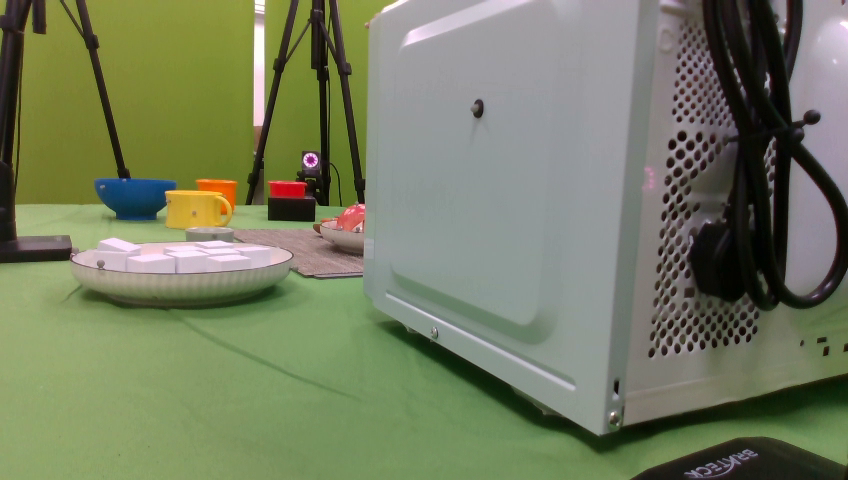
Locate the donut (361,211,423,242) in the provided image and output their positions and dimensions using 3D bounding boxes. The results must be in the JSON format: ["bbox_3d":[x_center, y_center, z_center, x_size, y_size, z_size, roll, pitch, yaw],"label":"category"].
[{"bbox_3d":[-0.050,-0.020,0.958,0.099,0.048,0.099,4,6,0],"label":"donut"}]

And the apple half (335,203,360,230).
[{"bbox_3d":[-0.116,-0.038,0.959,0.081,0.033,0.081,-38,8,7],"label":"apple half"}]

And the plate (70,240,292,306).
[{"bbox_3d":[-0.241,0.032,0.618,0.208,0.039,0.207,2,8,0],"label":"plate"}]

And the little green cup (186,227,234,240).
[{"bbox_3d":[-0.284,0.005,0.805,0.061,0.038,0.061,2,8,0],"label":"little green cup"}]

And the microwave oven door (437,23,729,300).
[{"bbox_3d":[0.181,-0.072,0.621,0.358,0.243,0.039,-2,8,-29],"label":"microwave oven door"}]

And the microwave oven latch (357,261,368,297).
[{"bbox_3d":[-0.019,0.033,0.531,0.079,0.029,0.030,-1,7,-27],"label":"microwave oven latch"}]

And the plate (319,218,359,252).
[{"bbox_3d":[-0.059,-0.007,0.939,0.209,0.038,0.209,3,8,0],"label":"plate"}]

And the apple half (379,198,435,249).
[{"bbox_3d":[-0.020,-0.030,0.891,0.081,0.053,0.074,-2,49,-26],"label":"apple half"}]

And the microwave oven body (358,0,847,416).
[{"bbox_3d":[0.211,-0.047,0.474,0.444,0.260,0.324,-1,7,-28],"label":"microwave oven body"}]

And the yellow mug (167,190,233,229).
[{"bbox_3d":[-0.415,-0.057,1.132,0.130,0.064,0.100,6,8,16],"label":"yellow mug"}]

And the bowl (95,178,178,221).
[{"bbox_3d":[-0.576,-0.081,1.217,0.151,0.077,0.151,3,8,0],"label":"bowl"}]

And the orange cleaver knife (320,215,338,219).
[{"bbox_3d":[-0.142,-0.057,1.394,0.077,0.012,0.212,2,7,44],"label":"orange cleaver knife"}]

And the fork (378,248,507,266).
[{"bbox_3d":[0.032,0.022,0.819,0.208,0.018,0.028,-5,4,-33],"label":"fork"}]

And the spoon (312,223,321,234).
[{"bbox_3d":[-0.112,-0.022,1.095,0.195,0.021,0.041,-4,-16,-38],"label":"spoon"}]
